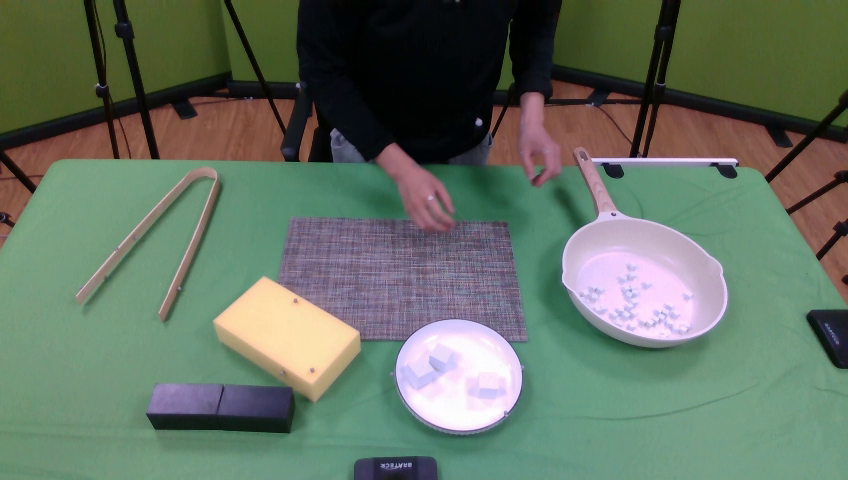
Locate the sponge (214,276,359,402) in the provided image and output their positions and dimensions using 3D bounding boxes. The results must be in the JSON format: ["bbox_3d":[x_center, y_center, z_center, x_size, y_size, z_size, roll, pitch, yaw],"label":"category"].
[{"bbox_3d":[-0.225,0.158,0.998,0.206,0.061,0.118,27,52,18],"label":"sponge"}]

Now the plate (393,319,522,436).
[{"bbox_3d":[0.053,0.222,0.978,0.208,0.039,0.206,2,46,-2],"label":"plate"}]

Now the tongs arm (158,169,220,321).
[{"bbox_3d":[-0.446,-0.005,1.164,0.028,0.028,0.385,1,46,0],"label":"tongs arm"}]

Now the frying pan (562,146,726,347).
[{"bbox_3d":[0.378,-0.005,1.175,0.307,0.103,0.484,-4,55,-10],"label":"frying pan"}]

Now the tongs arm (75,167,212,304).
[{"bbox_3d":[-0.525,-0.021,1.167,0.051,0.026,0.383,13,46,7],"label":"tongs arm"}]
